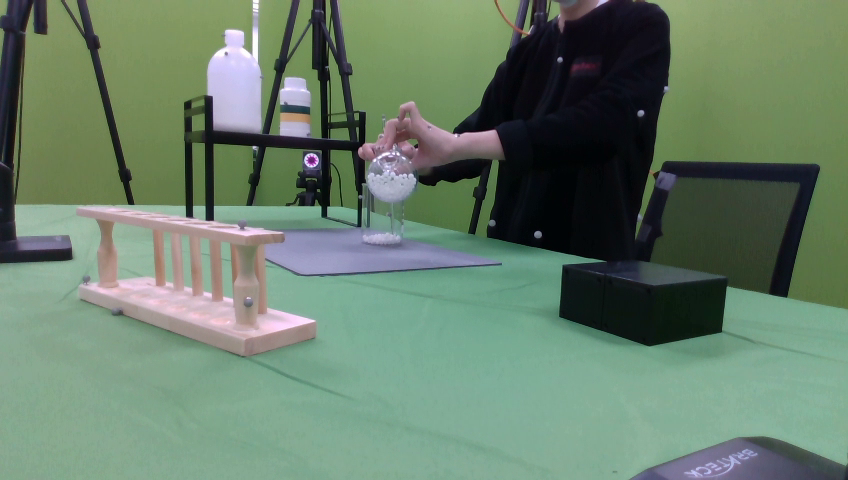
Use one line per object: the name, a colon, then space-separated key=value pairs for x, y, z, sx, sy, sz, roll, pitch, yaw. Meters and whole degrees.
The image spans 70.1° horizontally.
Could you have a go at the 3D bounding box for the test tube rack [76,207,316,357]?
test tube rack: x=-0.196 y=0.023 z=0.500 sx=0.241 sy=0.085 sz=0.067 roll=8 pitch=9 yaw=36

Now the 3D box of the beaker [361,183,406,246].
beaker: x=-0.067 y=-0.042 z=0.993 sx=0.074 sy=0.100 sz=0.084 roll=1 pitch=8 yaw=-8

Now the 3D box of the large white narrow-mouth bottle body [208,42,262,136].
large white narrow-mouth bottle body: x=-0.368 y=-0.304 z=1.181 sx=0.102 sy=0.194 sz=0.101 roll=2 pitch=9 yaw=0

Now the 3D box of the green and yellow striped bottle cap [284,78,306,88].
green and yellow striped bottle cap: x=-0.268 y=-0.325 z=1.259 sx=0.045 sy=0.020 sz=0.045 roll=5 pitch=8 yaw=0

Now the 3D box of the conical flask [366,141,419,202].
conical flask: x=-0.050 y=-0.111 z=0.897 sx=0.075 sy=0.075 sz=0.121 roll=1 pitch=26 yaw=-8

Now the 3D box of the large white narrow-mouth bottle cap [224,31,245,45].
large white narrow-mouth bottle cap: x=-0.365 y=-0.389 z=1.166 sx=0.038 sy=0.024 sz=0.037 roll=2 pitch=9 yaw=0

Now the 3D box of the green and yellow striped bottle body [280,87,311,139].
green and yellow striped bottle body: x=-0.269 y=-0.274 z=1.266 sx=0.063 sy=0.119 sz=0.063 roll=3 pitch=7 yaw=0

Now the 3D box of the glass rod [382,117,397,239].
glass rod: x=-0.057 y=-0.100 z=0.985 sx=0.008 sy=0.199 sz=0.008 roll=-5 pitch=1 yaw=0
